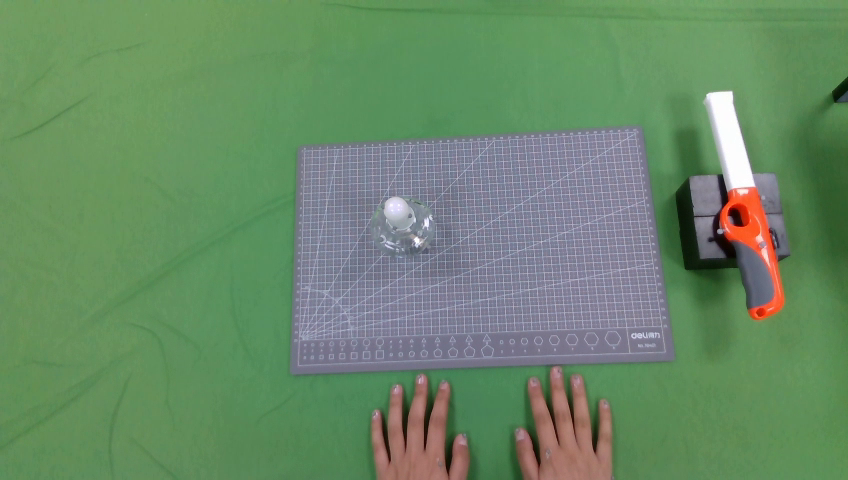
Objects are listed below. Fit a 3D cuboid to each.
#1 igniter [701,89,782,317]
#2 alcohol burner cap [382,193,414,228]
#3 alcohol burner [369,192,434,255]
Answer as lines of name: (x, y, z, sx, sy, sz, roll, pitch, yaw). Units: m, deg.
igniter: (0.358, -0.048, 0.687, 0.057, 0.025, 0.274, -4, 71, 3)
alcohol burner cap: (-0.031, -0.034, 0.671, 0.034, 0.048, 0.033, -2, 78, 8)
alcohol burner: (-0.028, -0.025, 0.705, 0.078, 0.120, 0.077, -1, 73, 2)
